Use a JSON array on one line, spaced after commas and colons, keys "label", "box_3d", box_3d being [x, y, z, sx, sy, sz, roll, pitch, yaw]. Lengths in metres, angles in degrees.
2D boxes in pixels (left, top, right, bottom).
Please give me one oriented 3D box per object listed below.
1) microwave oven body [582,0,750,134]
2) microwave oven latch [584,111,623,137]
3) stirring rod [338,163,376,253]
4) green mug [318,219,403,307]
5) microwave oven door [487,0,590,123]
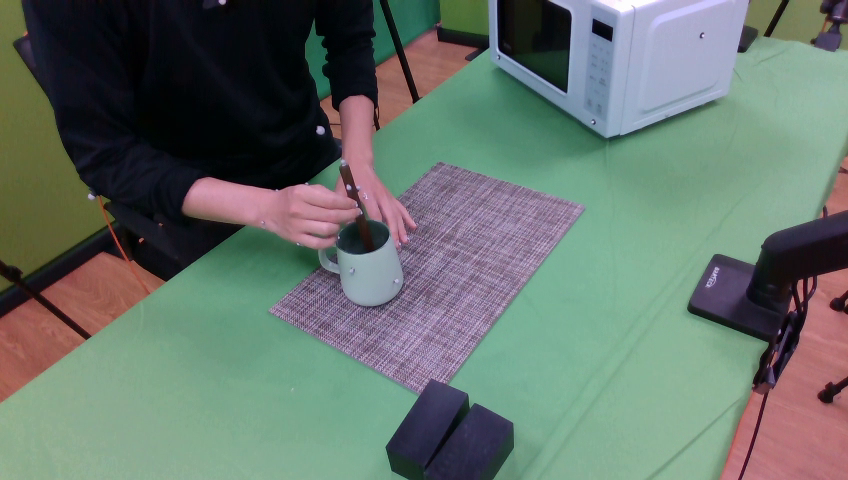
[{"label": "microwave oven body", "box_3d": [0.382, -0.445, 1.246, 0.327, 0.261, 0.437, -22, 42, -16]}, {"label": "microwave oven latch", "box_3d": [0.337, -0.222, 1.142, 0.030, 0.029, 0.078, -21, 42, -14]}, {"label": "stirring rod", "box_3d": [-0.087, -0.034, 0.812, 0.014, 0.177, 0.005, -23, 47, -9]}, {"label": "green mug", "box_3d": [-0.096, 0.032, 0.876, 0.125, 0.105, 0.092, 8, 43, 17]}, {"label": "microwave oven door", "box_3d": [0.232, -0.420, 1.230, 0.039, 0.245, 0.352, -22, 43, -16]}]
